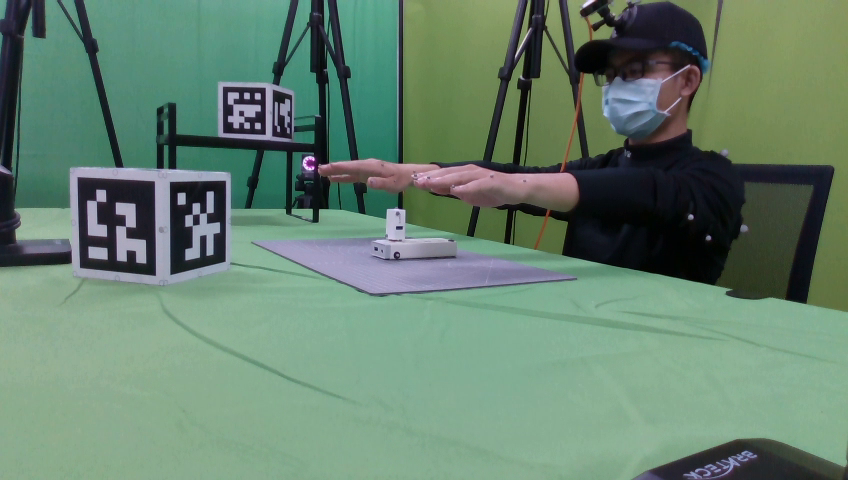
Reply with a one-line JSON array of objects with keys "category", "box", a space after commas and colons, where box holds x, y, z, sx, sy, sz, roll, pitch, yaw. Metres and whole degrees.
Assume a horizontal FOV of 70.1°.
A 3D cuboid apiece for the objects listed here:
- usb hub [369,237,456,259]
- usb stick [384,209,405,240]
[{"category": "usb hub", "box": [-0.016, 0.012, 0.909, 0.126, 0.025, 0.049, -2, 9, -32]}, {"category": "usb stick", "box": [-0.044, -0.016, 0.892, 0.021, 0.059, 0.027, -1, 9, -35]}]
